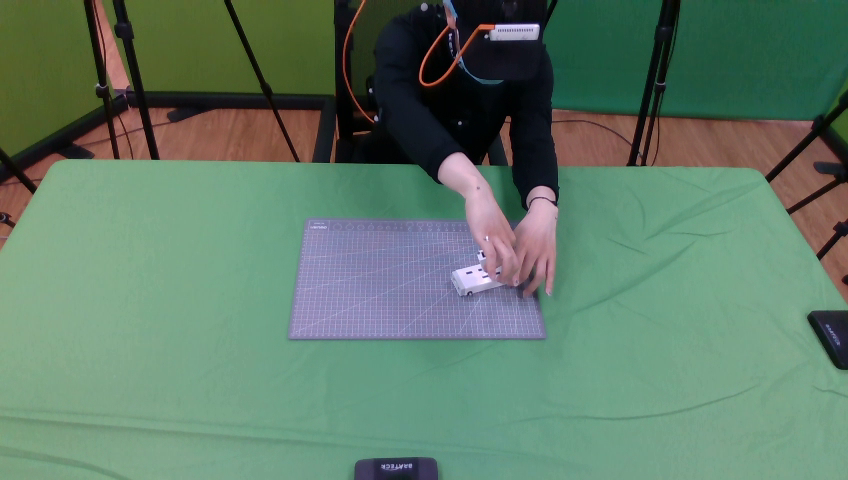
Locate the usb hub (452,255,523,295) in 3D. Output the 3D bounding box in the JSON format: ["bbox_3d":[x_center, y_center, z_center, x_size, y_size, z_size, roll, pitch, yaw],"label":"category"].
[{"bbox_3d":[0.119,0.065,1.132,0.125,0.025,0.049,-14,48,-15],"label":"usb hub"}]

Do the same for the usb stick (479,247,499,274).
[{"bbox_3d":[0.118,0.039,1.088,0.027,0.059,0.021,-19,49,4],"label":"usb stick"}]
